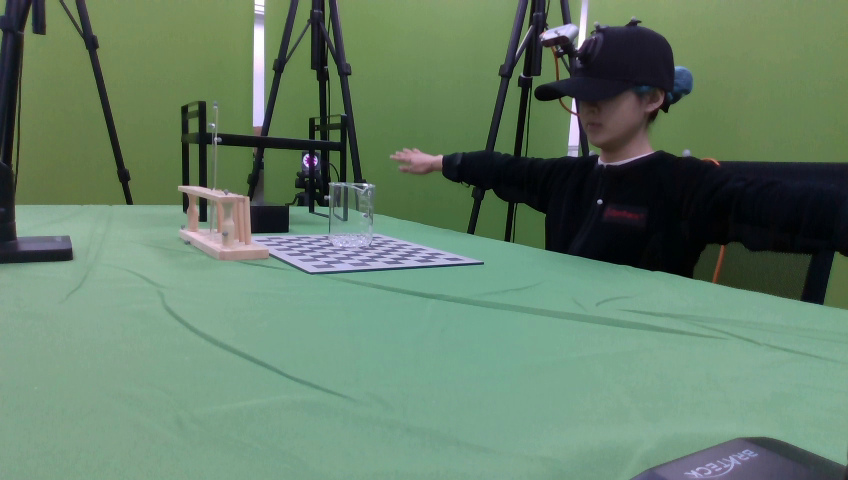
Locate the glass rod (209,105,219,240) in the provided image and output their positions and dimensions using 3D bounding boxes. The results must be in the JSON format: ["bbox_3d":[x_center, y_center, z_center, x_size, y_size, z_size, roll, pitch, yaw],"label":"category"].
[{"bbox_3d":[-0.305,-0.096,0.878,0.008,0.199,0.008,2,0,0],"label":"glass rod"}]

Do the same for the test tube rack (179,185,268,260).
[{"bbox_3d":[-0.303,-0.031,0.898,0.067,0.085,0.241,-2,9,-33],"label":"test tube rack"}]

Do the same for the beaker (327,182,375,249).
[{"bbox_3d":[-0.114,-0.039,0.950,0.074,0.100,0.083,-2,9,-31],"label":"beaker"}]
